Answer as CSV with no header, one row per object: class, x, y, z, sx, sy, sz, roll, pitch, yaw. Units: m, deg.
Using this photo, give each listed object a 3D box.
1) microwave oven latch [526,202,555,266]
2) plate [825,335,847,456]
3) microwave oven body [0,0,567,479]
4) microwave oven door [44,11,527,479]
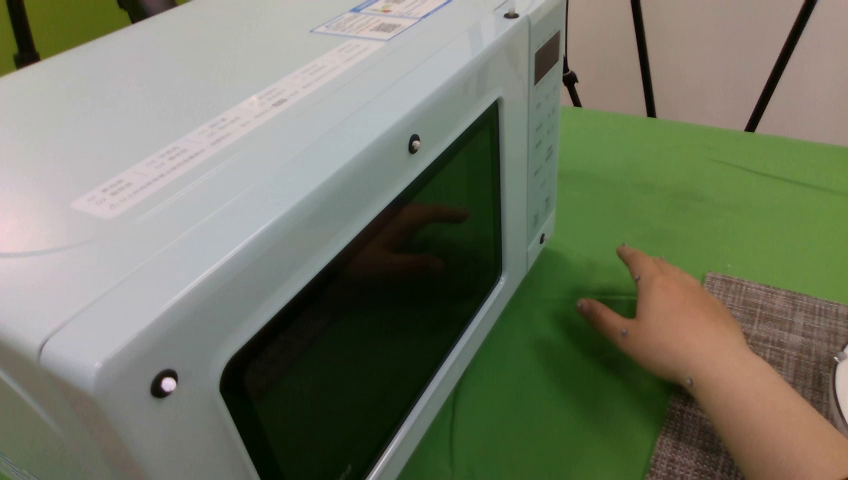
microwave oven latch,0.102,-0.008,0.585,0.030,0.030,0.079,17,44,26
plate,0.373,0.131,0.388,0.209,0.038,0.207,-4,37,3
microwave oven body,-0.123,-0.020,0.472,0.324,0.262,0.440,16,43,25
microwave oven door,-0.018,0.034,0.378,0.039,0.246,0.354,15,42,26
